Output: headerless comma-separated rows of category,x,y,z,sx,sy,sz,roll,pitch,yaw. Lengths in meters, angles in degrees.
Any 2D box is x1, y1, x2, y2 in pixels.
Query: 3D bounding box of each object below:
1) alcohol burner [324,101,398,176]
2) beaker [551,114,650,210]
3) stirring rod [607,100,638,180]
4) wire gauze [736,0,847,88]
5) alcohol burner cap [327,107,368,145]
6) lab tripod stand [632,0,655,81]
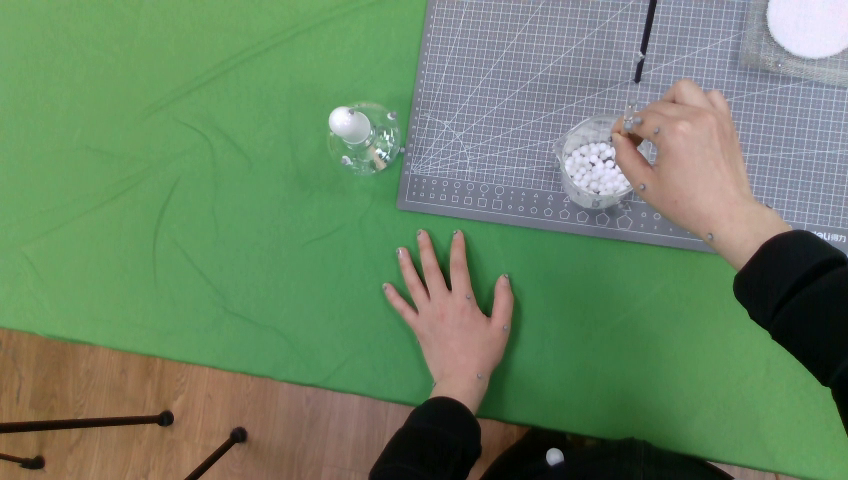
alcohol burner,-0.067,-0.106,0.607,0.078,0.119,0.077,-1,84,9
beaker,0.160,-0.068,0.567,0.083,0.100,0.074,15,88,12
stirring rod,0.163,-0.077,0.501,0.014,0.177,0.006,-13,76,12
wire gauze,0.373,-0.214,0.583,0.125,0.011,0.121,13,88,8
alcohol burner cap,-0.075,-0.110,0.572,0.034,0.048,0.034,0,90,10
lab tripod stand,0.201,-0.237,0.552,0.148,0.132,0.148,0,87,9
